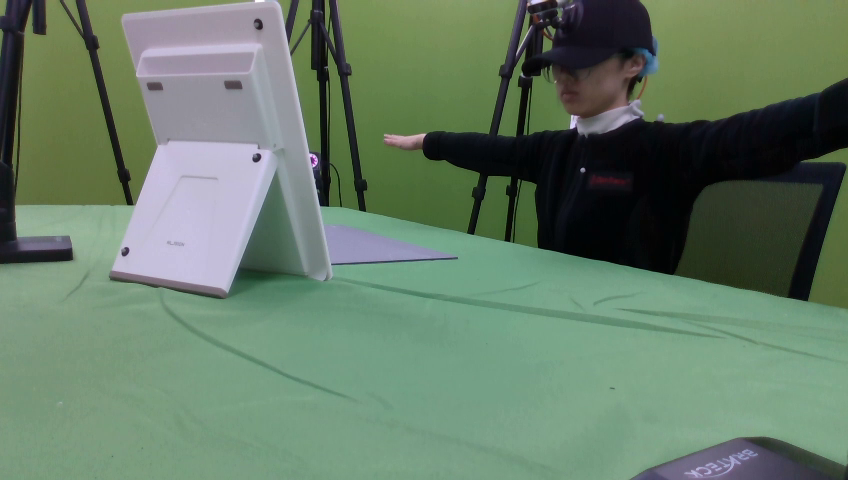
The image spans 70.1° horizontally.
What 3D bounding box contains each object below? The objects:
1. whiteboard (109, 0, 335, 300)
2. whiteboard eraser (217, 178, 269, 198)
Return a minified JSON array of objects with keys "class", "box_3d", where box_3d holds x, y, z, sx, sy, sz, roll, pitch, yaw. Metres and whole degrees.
[{"class":"whiteboard","box_3d":[-0.247,-0.072,0.625,0.216,0.305,0.144,6,28,26]},{"class":"whiteboard eraser","box_3d":[-0.389,-0.113,1.304,0.055,0.042,0.113,4,7,20]}]
